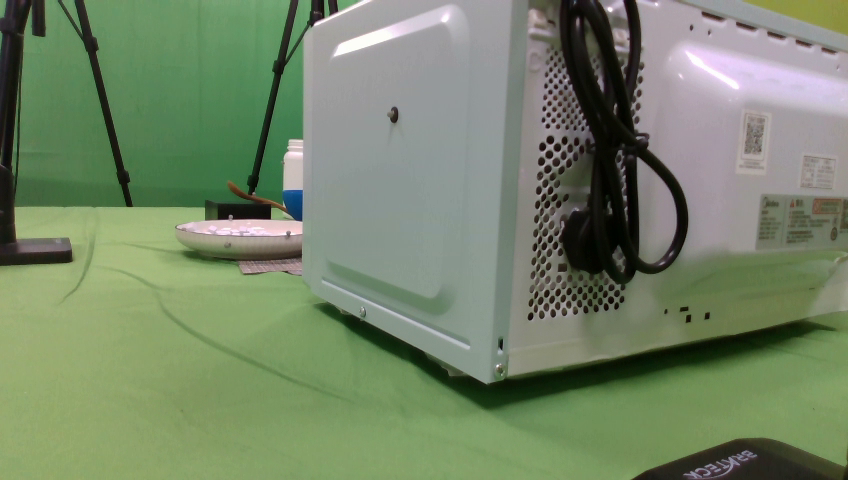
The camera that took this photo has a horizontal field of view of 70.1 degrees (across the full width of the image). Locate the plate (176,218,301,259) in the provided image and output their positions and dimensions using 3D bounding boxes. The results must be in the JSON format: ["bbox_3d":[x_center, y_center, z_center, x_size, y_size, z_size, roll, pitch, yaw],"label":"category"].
[{"bbox_3d":[-0.248,-0.003,0.877,0.209,0.038,0.209,1,8,0],"label":"plate"}]

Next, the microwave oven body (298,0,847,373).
[{"bbox_3d":[0.151,-0.055,0.542,0.444,0.260,0.324,-1,7,-33],"label":"microwave oven body"}]

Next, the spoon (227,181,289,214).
[{"bbox_3d":[-0.315,-0.074,1.234,0.195,0.021,0.041,24,-10,-37],"label":"spoon"}]

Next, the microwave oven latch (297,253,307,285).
[{"bbox_3d":[-0.082,0.027,0.582,0.079,0.029,0.030,-1,7,-32],"label":"microwave oven latch"}]

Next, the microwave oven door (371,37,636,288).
[{"bbox_3d":[0.110,-0.080,0.686,0.358,0.243,0.039,-2,9,-33],"label":"microwave oven door"}]

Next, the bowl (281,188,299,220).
[{"bbox_3d":[-0.190,-0.053,1.129,0.151,0.077,0.151,3,8,0],"label":"bowl"}]

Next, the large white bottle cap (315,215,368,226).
[{"bbox_3d":[-0.178,-0.041,1.309,0.115,0.018,0.115,2,6,0],"label":"large white bottle cap"}]

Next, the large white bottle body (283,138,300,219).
[{"bbox_3d":[-0.265,-0.144,1.423,0.131,0.184,0.130,2,7,0],"label":"large white bottle body"}]
